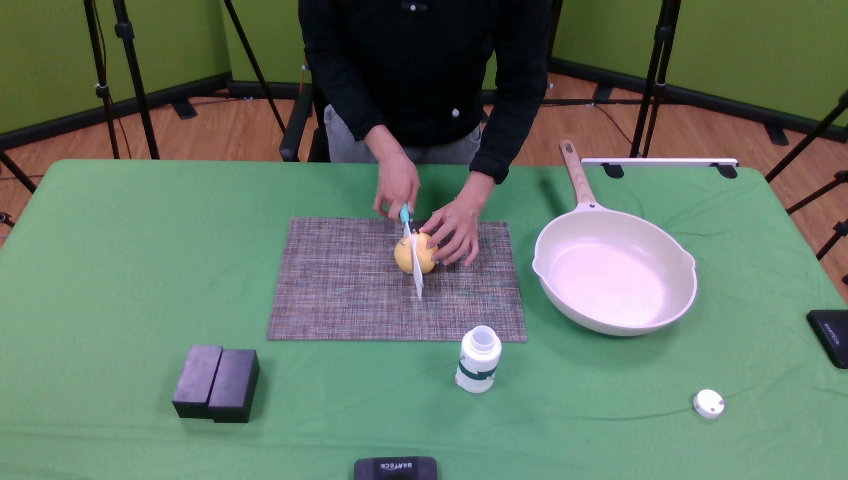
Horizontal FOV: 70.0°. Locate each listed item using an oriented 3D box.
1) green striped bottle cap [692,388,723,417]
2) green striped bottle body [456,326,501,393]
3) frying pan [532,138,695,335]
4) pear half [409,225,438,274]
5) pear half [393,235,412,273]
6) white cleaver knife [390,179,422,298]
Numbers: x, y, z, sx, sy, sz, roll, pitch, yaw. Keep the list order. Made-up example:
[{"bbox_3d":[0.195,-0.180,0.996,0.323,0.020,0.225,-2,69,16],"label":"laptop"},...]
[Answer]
[{"bbox_3d":[0.460,0.263,0.984,0.044,0.020,0.044,3,46,-3],"label":"green striped bottle cap"},{"bbox_3d":[0.086,0.186,0.959,0.063,0.120,0.063,2,47,-2],"label":"green striped bottle body"},{"bbox_3d":[0.336,-0.023,1.190,0.307,0.103,0.484,-2,55,-7],"label":"frying pan"},{"bbox_3d":[-0.001,0.012,1.120,0.056,0.110,0.076,-10,50,-14],"label":"pear half"},{"bbox_3d":[-0.041,0.025,1.120,0.031,0.088,0.070,-16,55,-7],"label":"pear half"},{"bbox_3d":[-0.037,-0.011,1.150,0.021,0.066,0.284,-3,47,-12],"label":"white cleaver knife"}]
